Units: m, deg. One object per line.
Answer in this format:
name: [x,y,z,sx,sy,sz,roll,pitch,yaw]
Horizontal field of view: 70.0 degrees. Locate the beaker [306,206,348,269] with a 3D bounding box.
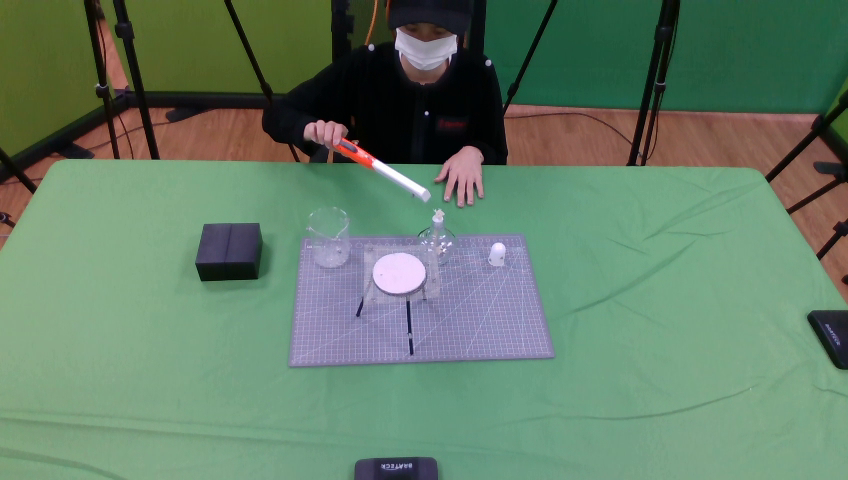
beaker: [-0.177,0.001,1.126,0.074,0.101,0.083,-13,49,-16]

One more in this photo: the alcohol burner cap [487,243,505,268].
alcohol burner cap: [0.141,0.027,1.166,0.034,0.048,0.033,2,45,-2]

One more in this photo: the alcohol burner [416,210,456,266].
alcohol burner: [0.023,-0.009,1.141,0.078,0.120,0.077,2,44,-2]

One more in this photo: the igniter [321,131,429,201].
igniter: [-0.100,-0.145,1.138,0.275,0.057,0.025,32,79,29]

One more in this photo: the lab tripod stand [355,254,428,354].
lab tripod stand: [-0.046,0.100,1.017,0.148,0.132,0.147,1,47,-1]

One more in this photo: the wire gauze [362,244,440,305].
wire gauze: [-0.038,0.051,0.971,0.121,0.011,0.124,-1,46,-4]
